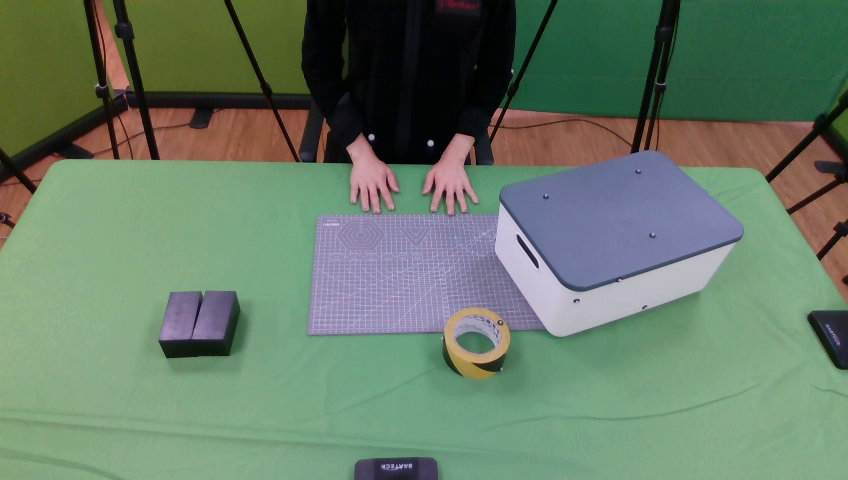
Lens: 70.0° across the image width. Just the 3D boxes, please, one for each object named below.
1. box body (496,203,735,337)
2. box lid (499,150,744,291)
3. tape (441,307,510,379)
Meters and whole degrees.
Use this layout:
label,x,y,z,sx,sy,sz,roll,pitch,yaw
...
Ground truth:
label,x,y,z,sx,sy,sz,roll,pitch,yaw
box body,0.340,0.003,1.118,0.364,0.161,0.252,-15,49,-18
box lid,0.341,-0.049,1.064,0.372,0.015,0.261,-15,48,-18
tape,0.087,0.172,1.014,0.117,0.053,0.116,2,48,-2
